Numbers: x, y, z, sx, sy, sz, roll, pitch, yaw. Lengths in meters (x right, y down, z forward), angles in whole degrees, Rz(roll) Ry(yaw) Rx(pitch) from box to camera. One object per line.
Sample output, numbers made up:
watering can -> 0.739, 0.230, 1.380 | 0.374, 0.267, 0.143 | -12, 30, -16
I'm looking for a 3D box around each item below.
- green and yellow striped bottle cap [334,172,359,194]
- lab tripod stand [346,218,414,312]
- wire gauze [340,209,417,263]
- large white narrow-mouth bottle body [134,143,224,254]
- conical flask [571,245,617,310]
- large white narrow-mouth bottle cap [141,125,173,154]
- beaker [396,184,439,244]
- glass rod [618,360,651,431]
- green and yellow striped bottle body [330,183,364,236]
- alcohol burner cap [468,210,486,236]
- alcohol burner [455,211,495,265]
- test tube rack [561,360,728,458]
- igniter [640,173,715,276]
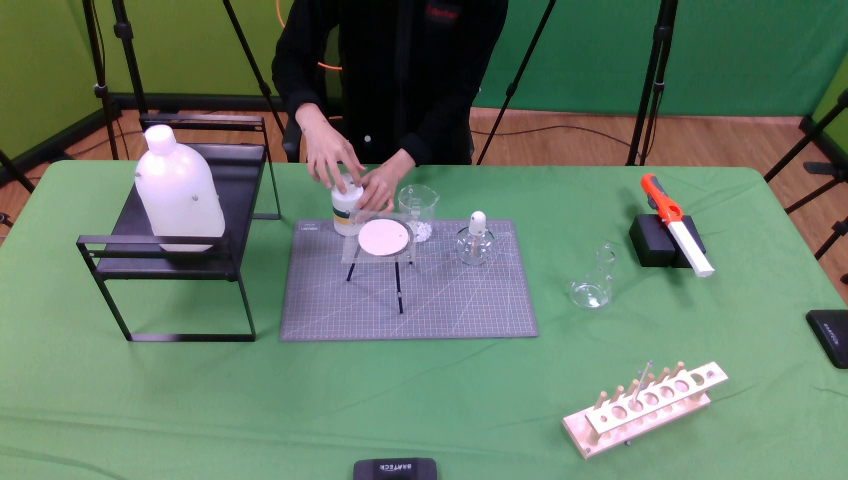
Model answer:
green and yellow striped bottle cap -> -0.147, -0.109, 1.145 | 0.045, 0.020, 0.045 | 0, 48, 0
lab tripod stand -> -0.070, 0.037, 1.075 | 0.148, 0.132, 0.147 | 1, 48, -1
wire gauze -> -0.074, -0.007, 1.023 | 0.121, 0.011, 0.124 | 3, 46, 0
large white narrow-mouth bottle body -> -0.358, -0.075, 0.875 | 0.102, 0.195, 0.101 | 1, 48, -1
conical flask -> 0.313, 0.064, 1.089 | 0.075, 0.122, 0.075 | 2, 46, -2
large white narrow-mouth bottle cap -> -0.356, -0.134, 0.810 | 0.038, 0.024, 0.037 | 2, 48, -1
beaker -> -0.014, -0.049, 1.186 | 0.084, 0.101, 0.073 | -8, 48, -13
glass rod -> 0.298, 0.227, 0.865 | 0.008, 0.201, 0.008 | -1, 48, 2
green and yellow striped bottle body -> -0.149, -0.070, 1.182 | 0.063, 0.120, 0.063 | 2, 45, -2
alcohol burner cap -> 0.100, -0.034, 1.119 | 0.034, 0.048, 0.033 | 0, 53, 0
alcohol burner -> 0.097, -0.010, 1.147 | 0.078, 0.120, 0.077 | 1, 47, -1
test tube rack -> 0.341, 0.248, 0.940 | 0.243, 0.085, 0.066 | -15, 49, -18
igniter -> 0.495, -0.039, 1.204 | 0.057, 0.025, 0.274 | -2, 47, -12
